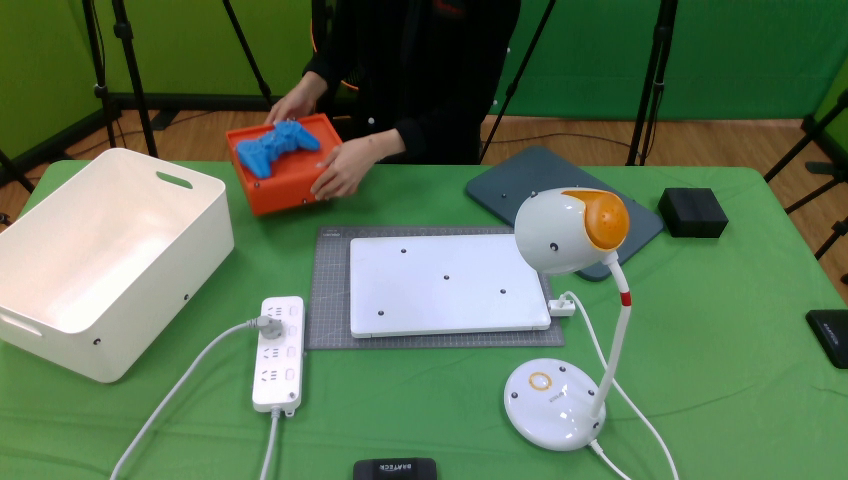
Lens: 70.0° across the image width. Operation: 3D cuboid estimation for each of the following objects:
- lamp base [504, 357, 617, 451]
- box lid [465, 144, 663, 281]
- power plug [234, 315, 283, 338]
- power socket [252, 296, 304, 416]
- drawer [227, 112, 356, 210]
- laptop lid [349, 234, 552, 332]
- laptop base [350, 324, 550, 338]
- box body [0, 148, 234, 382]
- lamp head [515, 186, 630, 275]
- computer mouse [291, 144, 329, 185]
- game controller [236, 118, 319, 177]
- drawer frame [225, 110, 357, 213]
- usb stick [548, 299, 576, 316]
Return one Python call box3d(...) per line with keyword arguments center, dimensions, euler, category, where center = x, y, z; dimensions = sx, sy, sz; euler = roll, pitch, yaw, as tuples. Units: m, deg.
box3d(center=(0.220, 0.211, 0.903), dimensions=(0.160, 0.181, 0.178), euler=(-33, 59, -30), category="lamp base")
box3d(center=(0.297, -0.072, 1.298), dimensions=(0.263, 0.015, 0.369), euler=(-33, 56, -31), category="box lid")
box3d(center=(-0.270, 0.143, 1.000), dimensions=(0.072, 0.053, 0.035), euler=(4, 47, 2), category="power plug")
box3d(center=(-0.238, 0.181, 0.997), dimensions=(0.072, 0.033, 0.225), euler=(-3, 47, -5), category="power socket")
box3d(center=(-0.266, -0.163, 1.224), dimensions=(0.212, 0.073, 0.193), euler=(-17, 49, -20), category="drawer")
box3d(center=(0.040, 0.071, 1.117), dimensions=(0.357, 0.013, 0.240), euler=(0, 44, -5), category="laptop lid")
box3d(center=(0.039, 0.081, 1.124), dimensions=(0.355, 0.023, 0.234), euler=(-2, 43, -6), category="laptop base")
box3d(center=(-0.525, 0.033, 1.027), dimensions=(0.254, 0.161, 0.362), euler=(18, 47, 13), category="box body")
box3d(center=(0.188, -0.013, 0.728), dimensions=(0.112, 0.112, 0.122), euler=(-25, 9, -25), category="lamp head")
box3d(center=(-0.235, -0.158, 1.242), dimensions=(0.063, 0.041, 0.116), euler=(-8, 49, -17), category="computer mouse")
box3d(center=(-0.287, -0.188, 1.172), dimensions=(0.096, 0.052, 0.155), euler=(30, 49, 27), category="game controller")
box3d(center=(-0.266, -0.163, 1.221), dimensions=(0.214, 0.083, 0.200), euler=(-17, 49, -20), category="drawer frame")
box3d(center=(0.239, 0.121, 1.084), dimensions=(0.059, 0.027, 0.021), euler=(-1, 51, -1), category="usb stick")
